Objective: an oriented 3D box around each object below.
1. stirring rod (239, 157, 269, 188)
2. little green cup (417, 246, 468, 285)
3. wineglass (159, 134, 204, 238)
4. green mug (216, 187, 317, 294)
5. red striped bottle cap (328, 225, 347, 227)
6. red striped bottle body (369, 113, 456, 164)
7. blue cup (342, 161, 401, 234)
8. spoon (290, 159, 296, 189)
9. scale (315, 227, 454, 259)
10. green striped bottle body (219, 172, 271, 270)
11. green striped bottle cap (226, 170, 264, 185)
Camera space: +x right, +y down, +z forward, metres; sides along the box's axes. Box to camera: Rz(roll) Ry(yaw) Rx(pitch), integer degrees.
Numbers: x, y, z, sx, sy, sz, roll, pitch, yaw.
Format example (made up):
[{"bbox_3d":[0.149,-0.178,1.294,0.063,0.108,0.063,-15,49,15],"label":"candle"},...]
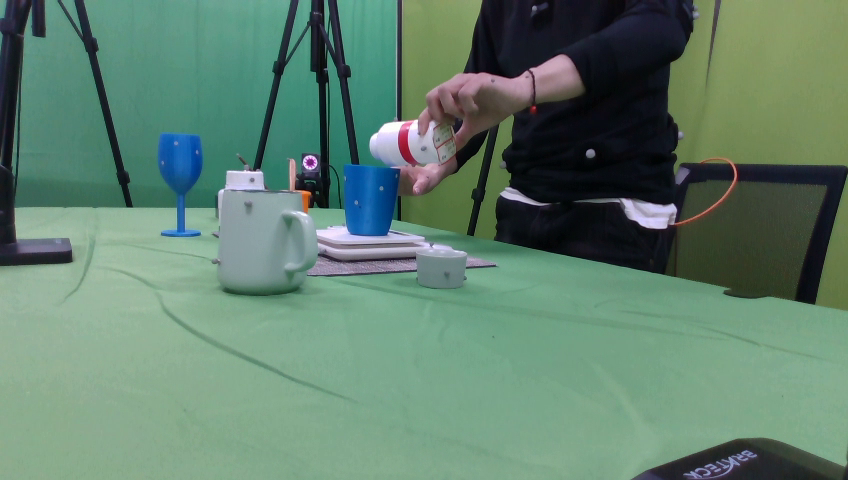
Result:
[{"bbox_3d":[-0.309,-0.098,1.209,0.006,0.177,0.014,-39,29,-4],"label":"stirring rod"},{"bbox_3d":[0.021,0.029,0.701,0.061,0.038,0.061,1,6,0],"label":"little green cup"},{"bbox_3d":[-0.415,-0.093,1.040,0.074,0.172,0.073,2,7,0],"label":"wineglass"},{"bbox_3d":[-0.157,0.000,0.629,0.124,0.105,0.093,7,9,37],"label":"green mug"},{"bbox_3d":[-0.152,-0.017,1.094,0.044,0.017,0.044,-2,4,0],"label":"red striped bottle cap"},{"bbox_3d":[-0.020,-0.140,0.848,0.119,0.063,0.063,0,5,36],"label":"red striped bottle body"},{"bbox_3d":[-0.079,-0.061,0.882,0.093,0.100,0.092,4,6,0],"label":"blue cup"},{"bbox_3d":[-0.273,-0.102,1.252,0.042,0.193,0.021,7,-39,-17],"label":"spoon"},{"bbox_3d":[-0.066,0.001,0.906,0.202,0.031,0.148,-2,8,-31],"label":"scale"},{"bbox_3d":[-0.223,-0.025,0.755,0.063,0.119,0.063,2,7,0],"label":"green striped bottle body"},{"bbox_3d":[-0.222,-0.076,0.748,0.044,0.020,0.044,1,7,0],"label":"green striped bottle cap"}]
